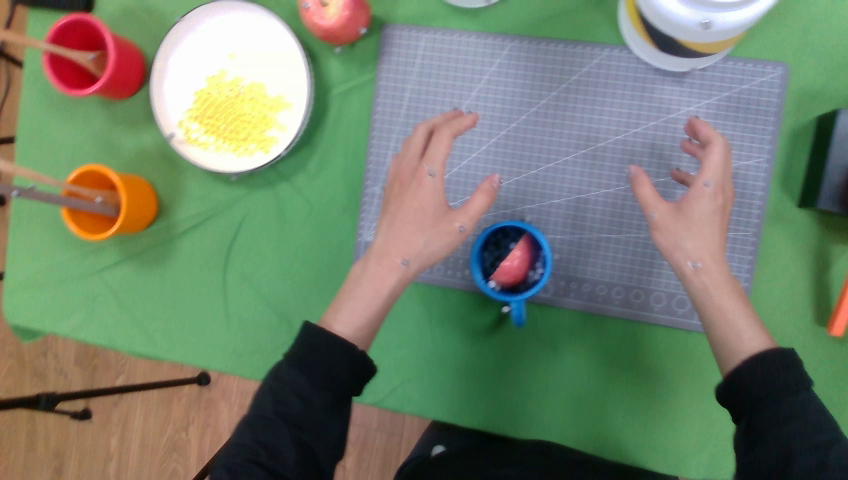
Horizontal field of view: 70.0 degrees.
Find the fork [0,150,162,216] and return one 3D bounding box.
[{"bbox_3d":[-0.424,-0.073,0.729,0.209,0.018,0.028,21,98,-34],"label":"fork"}]

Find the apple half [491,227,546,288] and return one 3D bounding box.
[{"bbox_3d":[0.108,0.024,0.647,0.032,0.081,0.081,42,100,15],"label":"apple half"}]

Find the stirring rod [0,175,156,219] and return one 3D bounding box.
[{"bbox_3d":[-0.419,-0.052,0.732,0.177,0.006,0.014,14,85,-30],"label":"stirring rod"}]

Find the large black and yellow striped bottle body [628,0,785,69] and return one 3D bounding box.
[{"bbox_3d":[0.270,-0.248,0.568,0.130,0.184,0.130,0,90,11],"label":"large black and yellow striped bottle body"}]

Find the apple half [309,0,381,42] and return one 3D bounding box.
[{"bbox_3d":[-0.092,-0.256,0.695,0.080,0.074,0.053,14,99,6],"label":"apple half"}]

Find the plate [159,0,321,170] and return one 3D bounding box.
[{"bbox_3d":[-0.221,-0.190,0.741,0.208,0.038,0.209,1,93,11],"label":"plate"}]

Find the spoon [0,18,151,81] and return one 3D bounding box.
[{"bbox_3d":[-0.433,-0.236,0.726,0.195,0.021,0.041,13,96,-33],"label":"spoon"}]

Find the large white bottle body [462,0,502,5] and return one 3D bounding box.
[{"bbox_3d":[0.054,-0.330,0.606,0.130,0.185,0.130,0,92,11],"label":"large white bottle body"}]

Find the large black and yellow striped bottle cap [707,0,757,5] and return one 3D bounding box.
[{"bbox_3d":[0.254,-0.249,0.486,0.115,0.019,0.115,0,92,10],"label":"large black and yellow striped bottle cap"}]

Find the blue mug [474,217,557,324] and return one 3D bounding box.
[{"bbox_3d":[0.103,0.033,0.655,0.082,0.106,0.116,-6,92,12],"label":"blue mug"}]

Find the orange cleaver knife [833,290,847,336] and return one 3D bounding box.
[{"bbox_3d":[0.446,-0.002,0.601,0.012,0.077,0.213,12,122,19],"label":"orange cleaver knife"}]
